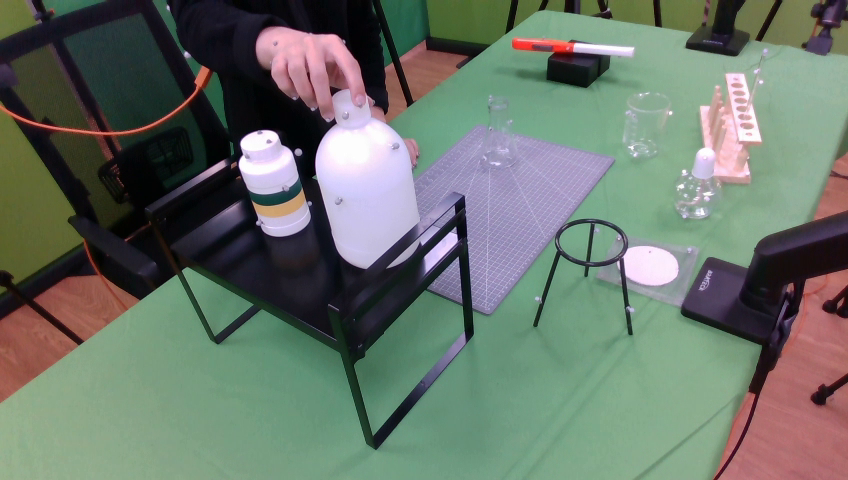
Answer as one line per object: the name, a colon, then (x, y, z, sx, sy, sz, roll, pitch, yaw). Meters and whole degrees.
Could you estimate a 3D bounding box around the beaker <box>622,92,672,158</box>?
beaker: (0.402, -0.210, 1.106, 0.074, 0.101, 0.083, -8, 40, -2)

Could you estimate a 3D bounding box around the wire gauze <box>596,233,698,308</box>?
wire gauze: (0.331, 0.037, 0.897, 0.124, 0.011, 0.121, 18, 47, 26)

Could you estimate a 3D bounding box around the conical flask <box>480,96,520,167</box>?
conical flask: (0.138, -0.201, 1.111, 0.075, 0.122, 0.075, -4, 41, 4)

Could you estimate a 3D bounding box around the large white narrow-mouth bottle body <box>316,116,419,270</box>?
large white narrow-mouth bottle body: (-0.063, -0.066, 0.653, 0.102, 0.195, 0.101, -3, 41, 3)

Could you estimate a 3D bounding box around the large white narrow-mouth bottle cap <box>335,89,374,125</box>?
large white narrow-mouth bottle cap: (-0.069, -0.131, 0.596, 0.038, 0.024, 0.037, -3, 41, 3)

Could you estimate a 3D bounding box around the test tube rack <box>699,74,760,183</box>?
test tube rack: (0.547, -0.208, 1.095, 0.066, 0.085, 0.242, 6, 42, 16)

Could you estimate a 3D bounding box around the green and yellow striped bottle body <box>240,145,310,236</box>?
green and yellow striped bottle body: (-0.181, -0.068, 0.729, 0.063, 0.120, 0.063, -4, 40, 4)

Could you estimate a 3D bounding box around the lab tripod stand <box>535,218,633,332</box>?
lab tripod stand: (0.216, 0.050, 0.803, 0.148, 0.132, 0.147, -4, 42, 4)

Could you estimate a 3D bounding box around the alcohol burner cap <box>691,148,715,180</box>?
alcohol burner cap: (0.432, -0.120, 0.931, 0.034, 0.048, 0.033, -7, 48, 8)

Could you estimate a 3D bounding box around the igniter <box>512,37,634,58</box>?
igniter: (0.328, -0.433, 1.360, 0.275, 0.025, 0.057, 12, 33, 20)

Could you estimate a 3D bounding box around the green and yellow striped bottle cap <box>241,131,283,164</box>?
green and yellow striped bottle cap: (-0.187, -0.107, 0.695, 0.045, 0.020, 0.045, -3, 39, 3)

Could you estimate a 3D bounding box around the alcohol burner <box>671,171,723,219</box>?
alcohol burner: (0.434, -0.093, 0.955, 0.078, 0.119, 0.077, -3, 43, 3)

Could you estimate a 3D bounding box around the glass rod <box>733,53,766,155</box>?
glass rod: (0.540, -0.220, 1.007, 0.008, 0.201, 0.008, -5, 45, 6)
